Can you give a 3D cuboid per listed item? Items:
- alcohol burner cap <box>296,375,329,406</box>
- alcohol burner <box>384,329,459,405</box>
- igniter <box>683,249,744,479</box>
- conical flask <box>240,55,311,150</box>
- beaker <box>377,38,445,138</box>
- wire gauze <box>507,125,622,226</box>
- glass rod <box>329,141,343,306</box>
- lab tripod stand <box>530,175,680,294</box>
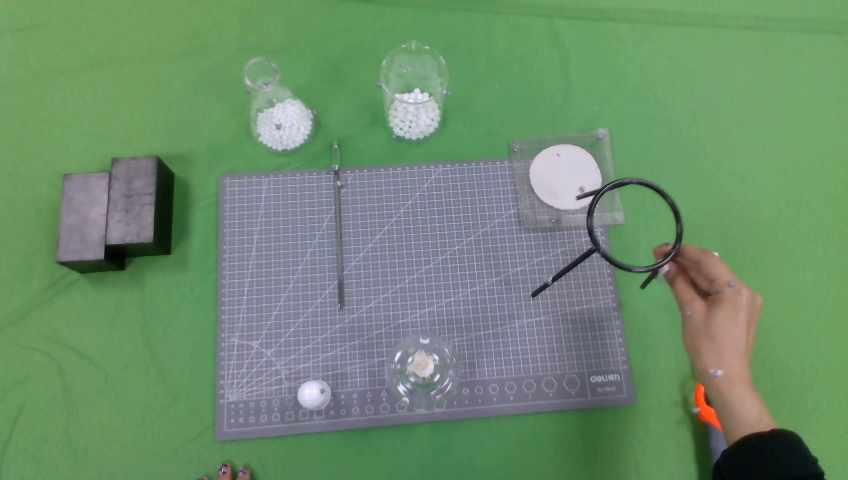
[{"bbox_3d":[-0.118,0.157,0.633,0.034,0.048,0.033,1,75,-2],"label":"alcohol burner cap"},{"bbox_3d":[-0.003,0.127,0.609,0.078,0.119,0.077,0,76,-2],"label":"alcohol burner"},{"bbox_3d":[0.317,0.144,0.665,0.057,0.025,0.275,3,74,-13],"label":"igniter"},{"bbox_3d":[-0.172,-0.157,0.678,0.075,0.122,0.075,1,74,-2],"label":"conical flask"},{"bbox_3d":[-0.016,-0.171,0.700,0.074,0.101,0.083,-2,74,-3],"label":"beaker"},{"bbox_3d":[0.168,-0.077,0.726,0.125,0.011,0.121,-5,75,-4],"label":"wire gauze"},{"bbox_3d":[-0.102,-0.023,0.699,0.008,0.008,0.198,-4,75,-4],"label":"glass rod"},{"bbox_3d":[0.181,0.003,0.610,0.148,0.132,0.147,2,77,-6],"label":"lab tripod stand"}]
